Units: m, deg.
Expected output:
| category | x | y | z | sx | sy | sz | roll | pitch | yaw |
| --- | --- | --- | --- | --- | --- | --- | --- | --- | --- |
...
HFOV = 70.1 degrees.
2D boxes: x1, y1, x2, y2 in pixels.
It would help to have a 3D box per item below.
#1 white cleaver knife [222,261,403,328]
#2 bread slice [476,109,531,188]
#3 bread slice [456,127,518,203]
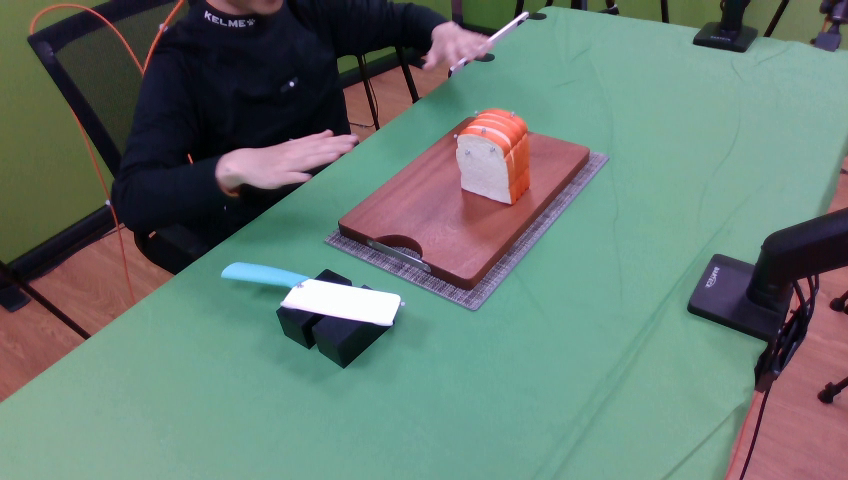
| category | x | y | z | sx | sy | sz | roll | pitch | yaw |
| --- | --- | --- | --- | --- | --- | --- | --- | --- | --- |
| white cleaver knife | -0.165 | 0.073 | 0.844 | 0.285 | 0.021 | 0.066 | 9 | 44 | 20 |
| bread slice | 0.129 | -0.152 | 0.999 | 0.106 | 0.135 | 0.018 | 24 | 49 | 27 |
| bread slice | 0.097 | -0.121 | 0.969 | 0.104 | 0.132 | 0.019 | 20 | 54 | 30 |
